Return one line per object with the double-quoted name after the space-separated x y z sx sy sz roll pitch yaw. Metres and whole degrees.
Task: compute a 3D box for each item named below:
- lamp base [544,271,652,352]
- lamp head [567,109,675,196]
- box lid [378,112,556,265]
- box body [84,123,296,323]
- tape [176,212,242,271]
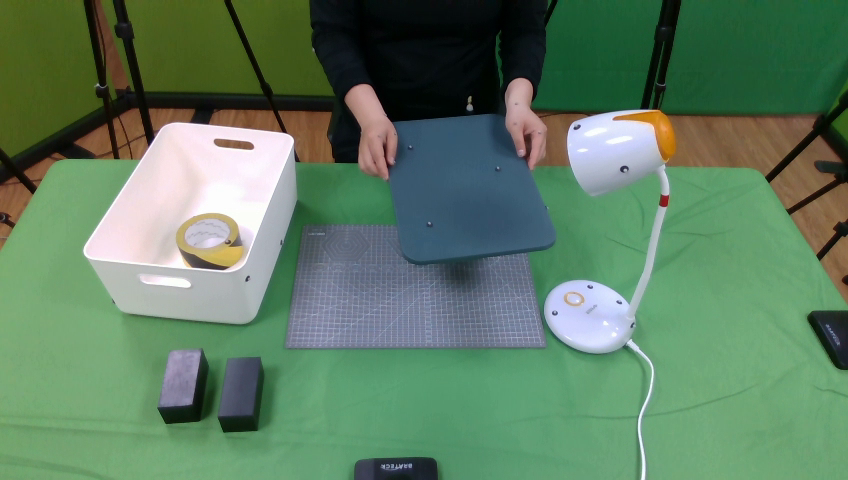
0.310 0.086 1.029 0.178 0.181 0.160 32 52 21 "lamp base"
0.272 -0.123 0.818 0.122 0.113 0.112 -9 35 37 "lamp head"
0.065 -0.107 1.092 0.263 0.015 0.369 -7 49 -7 "box lid"
-0.393 -0.035 1.104 0.254 0.161 0.362 5 46 1 "box body"
-0.401 0.005 1.133 0.117 0.053 0.116 2 46 -2 "tape"
